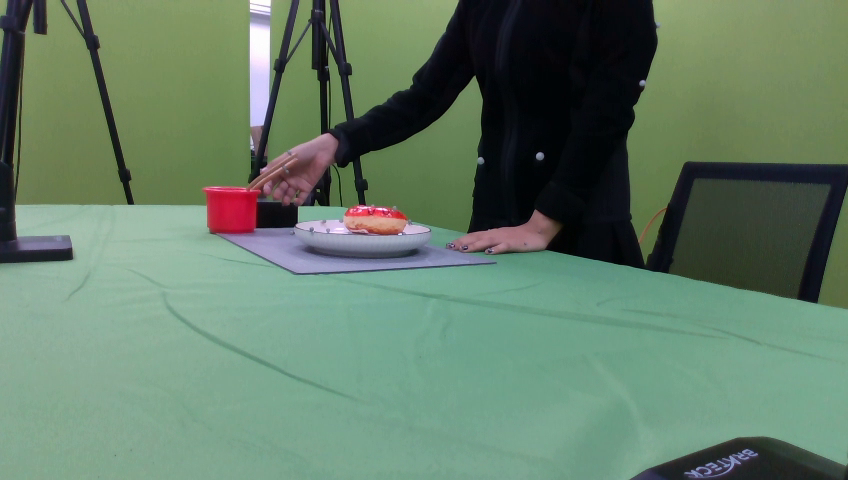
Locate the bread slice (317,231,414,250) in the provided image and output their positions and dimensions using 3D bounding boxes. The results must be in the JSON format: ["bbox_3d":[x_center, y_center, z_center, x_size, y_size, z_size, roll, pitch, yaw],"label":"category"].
[{"bbox_3d":[-0.093,0.000,0.915,0.132,0.019,0.104,0,7,-26],"label":"bread slice"}]

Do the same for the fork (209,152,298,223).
[{"bbox_3d":[-0.296,-0.088,1.044,0.207,0.018,0.028,-38,10,15],"label":"fork"}]

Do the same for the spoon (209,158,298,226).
[{"bbox_3d":[-0.303,-0.086,1.082,0.194,0.022,0.041,-44,24,-8],"label":"spoon"}]

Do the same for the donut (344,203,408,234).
[{"bbox_3d":[-0.074,-0.031,0.931,0.099,0.048,0.099,4,3,0],"label":"donut"}]

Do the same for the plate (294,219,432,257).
[{"bbox_3d":[-0.092,-0.003,0.924,0.209,0.038,0.209,2,7,0],"label":"plate"}]
